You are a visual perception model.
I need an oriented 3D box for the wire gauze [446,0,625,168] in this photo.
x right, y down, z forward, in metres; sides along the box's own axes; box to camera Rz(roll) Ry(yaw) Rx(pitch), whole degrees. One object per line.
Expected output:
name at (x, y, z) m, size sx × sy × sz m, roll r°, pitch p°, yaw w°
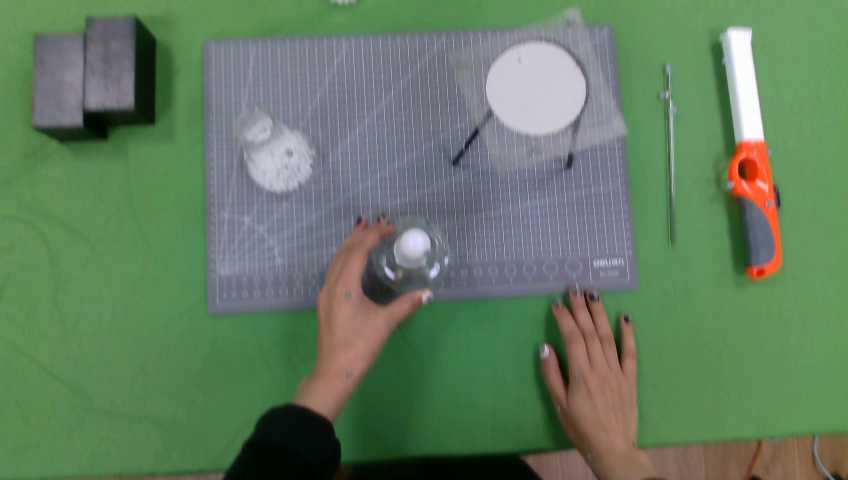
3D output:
wire gauze at (0.097, -0.135, 0.524) m, size 0.125 × 0.011 × 0.121 m, roll -20°, pitch 85°, yaw -4°

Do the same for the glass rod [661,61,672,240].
glass rod at (0.264, -0.099, 0.660) m, size 0.008 × 0.008 × 0.199 m, roll 1°, pitch 84°, yaw -2°

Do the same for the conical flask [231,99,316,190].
conical flask at (-0.150, -0.096, 0.584) m, size 0.075 × 0.122 × 0.075 m, roll 0°, pitch 83°, yaw -2°

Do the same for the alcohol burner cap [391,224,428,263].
alcohol burner cap at (-0.012, 0.001, 0.547) m, size 0.034 × 0.048 × 0.033 m, roll 2°, pitch 79°, yaw -11°

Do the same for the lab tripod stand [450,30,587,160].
lab tripod stand at (0.094, -0.130, 0.591) m, size 0.148 × 0.131 × 0.148 m, roll 0°, pitch 85°, yaw -2°

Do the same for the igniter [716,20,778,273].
igniter at (0.348, -0.103, 0.654) m, size 0.057 × 0.025 × 0.275 m, roll -2°, pitch 84°, yaw -13°

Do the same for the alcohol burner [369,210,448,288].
alcohol burner at (-0.015, 0.007, 0.583) m, size 0.078 × 0.119 × 0.077 m, roll 0°, pitch 83°, yaw -4°
